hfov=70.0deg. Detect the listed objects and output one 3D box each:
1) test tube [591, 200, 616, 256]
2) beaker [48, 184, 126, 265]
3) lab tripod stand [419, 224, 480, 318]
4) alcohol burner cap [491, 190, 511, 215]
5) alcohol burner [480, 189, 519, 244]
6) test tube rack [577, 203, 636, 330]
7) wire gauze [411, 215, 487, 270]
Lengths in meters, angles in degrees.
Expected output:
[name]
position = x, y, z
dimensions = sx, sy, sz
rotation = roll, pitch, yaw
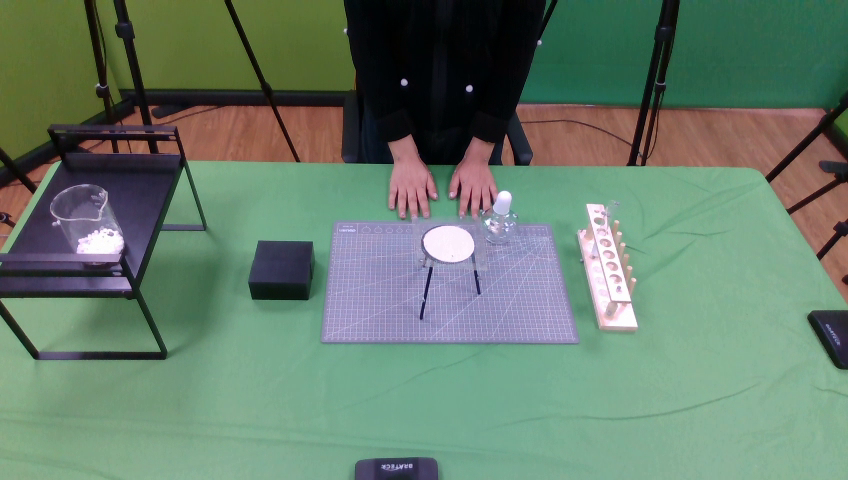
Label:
[test tube]
position = 0.333, -0.019, 1.130
dimensions = 0.017, 0.151, 0.017
rotation = 0, 51, 0
[beaker]
position = -0.479, -0.018, 0.875
dimensions = 0.083, 0.101, 0.074
rotation = 30, 52, 22
[lab tripod stand]
position = 0.034, 0.052, 1.070
dimensions = 0.148, 0.132, 0.147
rotation = 3, 48, -3
[alcohol burner cap]
position = 0.151, -0.076, 1.165
dimensions = 0.034, 0.048, 0.033
rotation = 5, 49, -6
[alcohol burner]
position = 0.150, -0.051, 1.191
dimensions = 0.078, 0.120, 0.077
rotation = 1, 47, -1
[test tube rack]
position = 0.348, 0.045, 1.139
dimensions = 0.067, 0.085, 0.241
rotation = 3, 46, -2
[wire gauze]
position = 0.041, 0.002, 1.026
dimensions = 0.125, 0.011, 0.120
rotation = 1, 46, -3
